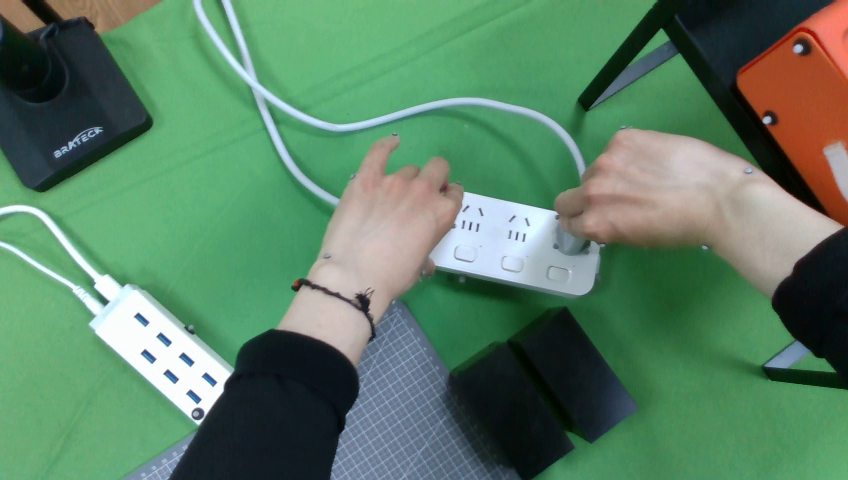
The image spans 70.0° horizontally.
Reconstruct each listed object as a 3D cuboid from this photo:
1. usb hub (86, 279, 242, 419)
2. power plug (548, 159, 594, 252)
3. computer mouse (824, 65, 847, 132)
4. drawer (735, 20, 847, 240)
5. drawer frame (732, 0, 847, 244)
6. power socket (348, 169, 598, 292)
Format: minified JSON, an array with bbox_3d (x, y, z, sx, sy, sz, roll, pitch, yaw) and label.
[{"bbox_3d":[-0.218,0.092,0.511,0.125,0.025,0.049,41,83,1],"label":"usb hub"},{"bbox_3d":[0.131,-0.025,0.518,0.035,0.053,0.072,24,77,-5],"label":"power plug"},{"bbox_3d":[0.310,-0.070,0.376,0.063,0.041,0.117,-37,85,-4],"label":"computer mouse"},{"bbox_3d":[0.335,-0.085,0.365,0.212,0.073,0.194,-33,86,-8],"label":"drawer"},{"bbox_3d":[0.338,-0.088,0.365,0.213,0.083,0.201,-34,86,-8],"label":"drawer frame"},{"bbox_3d":[0.048,-0.008,0.539,0.227,0.032,0.072,12,82,-2],"label":"power socket"}]
